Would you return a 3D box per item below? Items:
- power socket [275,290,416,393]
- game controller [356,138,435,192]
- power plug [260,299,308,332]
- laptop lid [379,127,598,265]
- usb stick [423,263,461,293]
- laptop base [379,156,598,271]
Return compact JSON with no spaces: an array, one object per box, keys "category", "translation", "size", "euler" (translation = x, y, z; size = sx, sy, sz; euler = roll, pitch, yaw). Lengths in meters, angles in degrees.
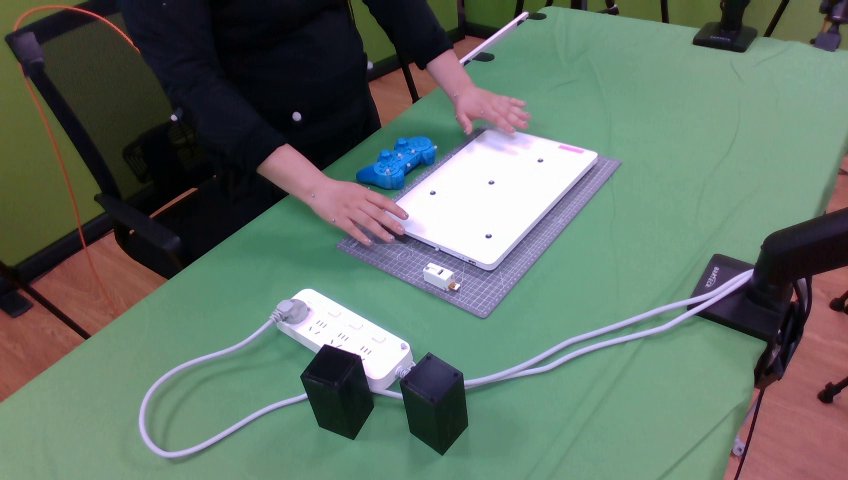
[{"category":"power socket","translation":[-0.114,0.132,0.821],"size":[0.225,0.033,0.072],"euler":[24,48,32]},{"category":"game controller","translation":[-0.049,-0.149,1.136],"size":[0.096,0.052,0.155],"euler":[27,51,28]},{"category":"power plug","translation":[-0.193,0.109,0.830],"size":[0.073,0.053,0.035],"euler":[-35,47,-23]},{"category":"laptop lid","translation":[0.117,-0.095,1.048],"size":[0.239,0.013,0.358],"euler":[23,49,34]},{"category":"usb stick","translation":[0.028,0.058,0.889],"size":[0.059,0.027,0.021],"euler":[25,47,29]},{"category":"laptop base","translation":[0.120,-0.085,1.054],"size":[0.233,0.023,0.355],"euler":[21,48,34]}]
